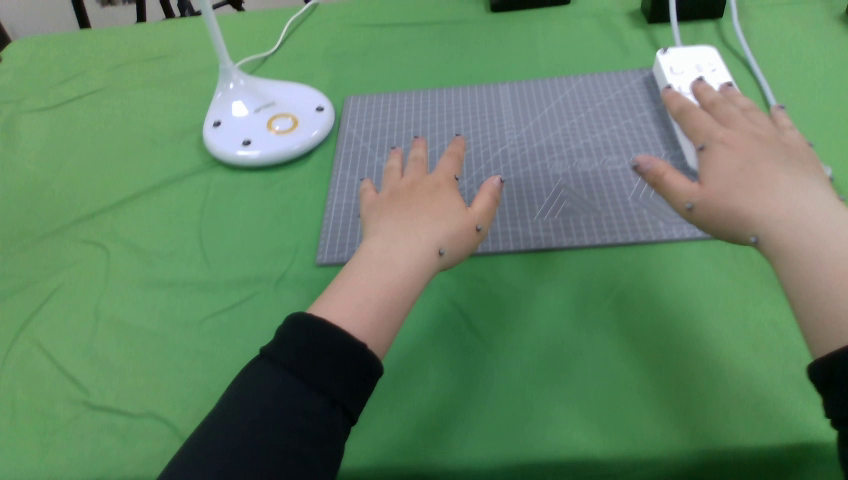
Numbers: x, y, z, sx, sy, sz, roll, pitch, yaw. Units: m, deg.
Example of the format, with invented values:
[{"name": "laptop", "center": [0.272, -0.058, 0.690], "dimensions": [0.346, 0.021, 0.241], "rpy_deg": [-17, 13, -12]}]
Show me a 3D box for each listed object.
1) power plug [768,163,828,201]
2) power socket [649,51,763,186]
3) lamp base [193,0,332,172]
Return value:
[{"name": "power plug", "center": [0.359, -0.058, 0.591], "dimensions": [0.052, 0.035, 0.072], "rpy_deg": [8, 12, 13]}, {"name": "power socket", "center": [0.304, -0.144, 0.668], "dimensions": [0.072, 0.033, 0.224], "rpy_deg": [-2, 45, 6]}, {"name": "lamp base", "center": [-0.211, -0.195, 0.697], "dimensions": [0.177, 0.182, 0.160], "rpy_deg": [26, 54, 33]}]
